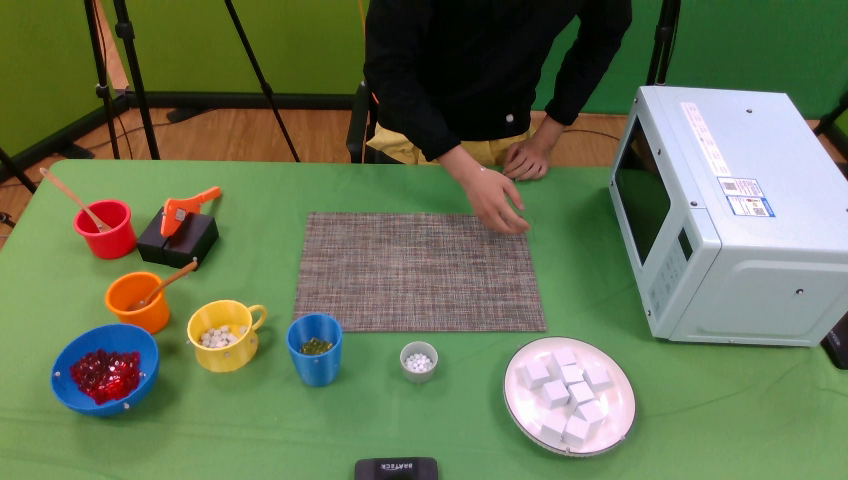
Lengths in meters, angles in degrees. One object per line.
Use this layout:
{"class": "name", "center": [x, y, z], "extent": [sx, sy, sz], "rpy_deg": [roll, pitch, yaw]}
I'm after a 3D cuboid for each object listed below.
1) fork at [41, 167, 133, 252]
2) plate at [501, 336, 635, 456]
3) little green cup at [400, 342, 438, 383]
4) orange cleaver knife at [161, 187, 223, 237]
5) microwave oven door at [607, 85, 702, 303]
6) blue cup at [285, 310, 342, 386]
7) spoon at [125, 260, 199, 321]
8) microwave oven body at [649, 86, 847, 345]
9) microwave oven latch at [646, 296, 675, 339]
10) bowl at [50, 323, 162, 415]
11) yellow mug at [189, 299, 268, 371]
{"class": "fork", "center": [-0.624, -0.056, 1.121], "extent": [0.208, 0.018, 0.028], "rpy_deg": [49, 52, -15]}
{"class": "plate", "center": [0.225, 0.248, 0.963], "extent": [0.208, 0.039, 0.206], "rpy_deg": [2, 46, -2]}
{"class": "little green cup", "center": [-0.010, 0.202, 0.991], "extent": [0.061, 0.039, 0.061], "rpy_deg": [2, 47, -2]}
{"class": "orange cleaver knife", "center": [-0.448, -0.059, 1.181], "extent": [0.012, 0.077, 0.211], "rpy_deg": [13, 17, 6]}
{"class": "microwave oven door", "center": [0.423, -0.094, 1.141], "extent": [0.039, 0.245, 0.353], "rpy_deg": [2, 46, -1]}
{"class": "blue cup", "center": [-0.170, 0.179, 0.958], "extent": [0.093, 0.101, 0.092], "rpy_deg": [1, 44, -1]}
{"class": "spoon", "center": [-0.434, 0.083, 0.999], "extent": [0.022, 0.194, 0.041], "rpy_deg": [34, 34, -35]}
{"class": "microwave oven body", "center": [0.568, -0.053, 1.118], "extent": [0.326, 0.261, 0.439], "rpy_deg": [2, 45, -1]}
{"class": "microwave oven latch", "center": [0.412, 0.134, 1.061], "extent": [0.030, 0.029, 0.078], "rpy_deg": [3, 45, 0]}
{"class": "bowl", "center": [-0.472, 0.209, 0.924], "extent": [0.151, 0.077, 0.150], "rpy_deg": [2, 45, -2]}
{"class": "yellow mug", "center": [-0.316, 0.148, 1.002], "extent": [0.131, 0.064, 0.099], "rpy_deg": [-32, 56, -31]}
